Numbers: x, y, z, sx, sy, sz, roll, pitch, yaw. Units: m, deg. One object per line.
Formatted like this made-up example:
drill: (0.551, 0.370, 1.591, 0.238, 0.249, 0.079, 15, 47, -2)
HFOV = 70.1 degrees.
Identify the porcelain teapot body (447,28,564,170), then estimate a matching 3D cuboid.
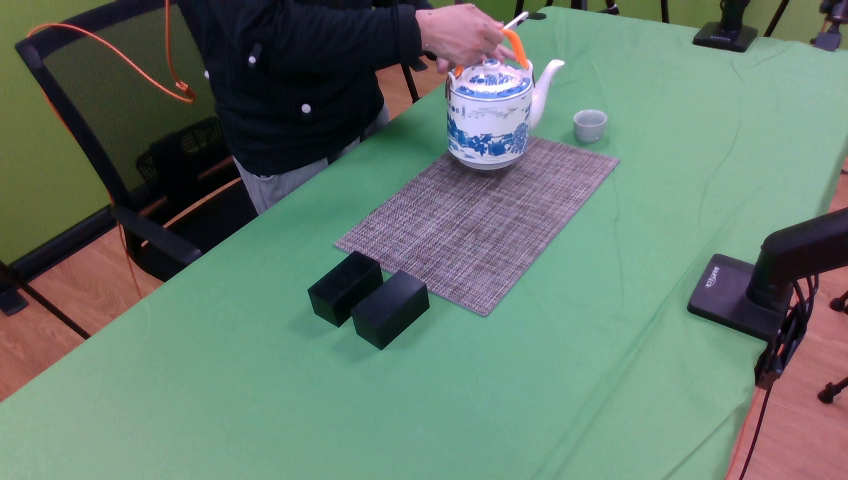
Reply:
porcelain teapot body: (0.138, -0.250, 1.029, 0.206, 0.226, 0.144, -13, 40, -13)

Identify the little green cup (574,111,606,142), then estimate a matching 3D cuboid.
little green cup: (0.318, -0.217, 1.164, 0.061, 0.039, 0.061, -3, 41, 3)

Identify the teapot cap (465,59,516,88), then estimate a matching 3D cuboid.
teapot cap: (0.111, -0.275, 0.999, 0.085, 0.044, 0.084, 0, 43, 1)
